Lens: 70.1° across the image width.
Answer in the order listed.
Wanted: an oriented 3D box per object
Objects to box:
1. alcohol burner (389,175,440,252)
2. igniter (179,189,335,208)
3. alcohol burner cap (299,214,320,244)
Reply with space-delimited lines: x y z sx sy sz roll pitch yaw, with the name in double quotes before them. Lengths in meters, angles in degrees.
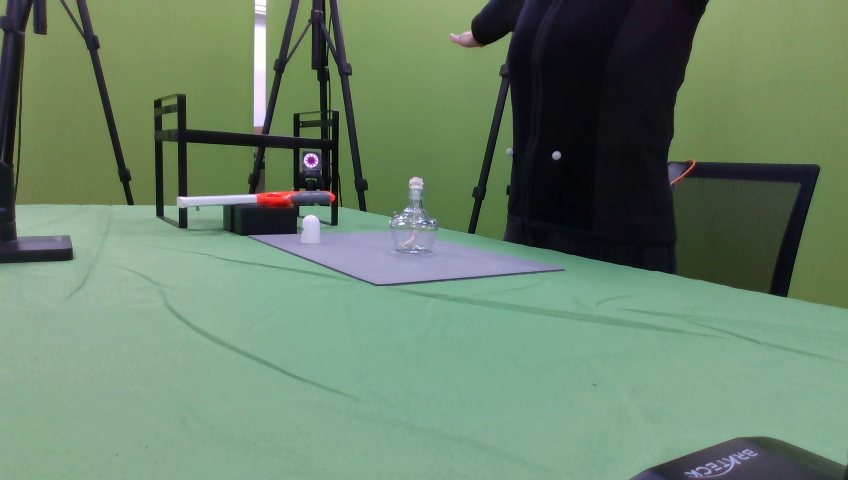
"alcohol burner" -0.013 -0.041 0.929 0.078 0.119 0.078 4 8 0
"igniter" -0.296 -0.075 1.102 0.278 0.025 0.057 -5 11 -31
"alcohol burner cap" -0.185 -0.018 0.979 0.034 0.048 0.034 3 8 0
